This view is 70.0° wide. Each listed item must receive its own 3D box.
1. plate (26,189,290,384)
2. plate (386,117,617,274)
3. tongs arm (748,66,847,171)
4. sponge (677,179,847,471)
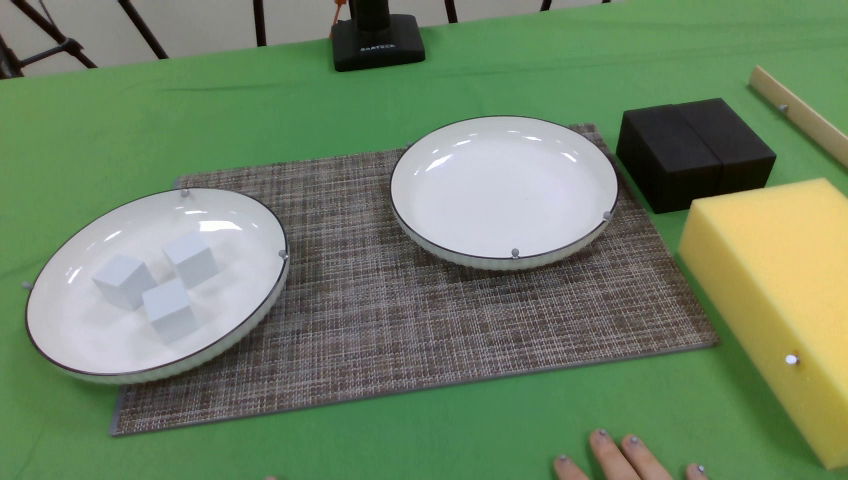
[{"bbox_3d":[-0.214,0.036,0.510,0.209,0.038,0.207,-2,44,3],"label":"plate"},{"bbox_3d":[0.070,-0.041,0.564,0.207,0.039,0.205,-2,45,3],"label":"plate"},{"bbox_3d":[0.428,-0.063,0.567,0.028,0.028,0.383,-11,45,-9],"label":"tongs arm"},{"bbox_3d":[0.293,0.049,0.442,0.118,0.061,0.204,-11,45,-5],"label":"sponge"}]
